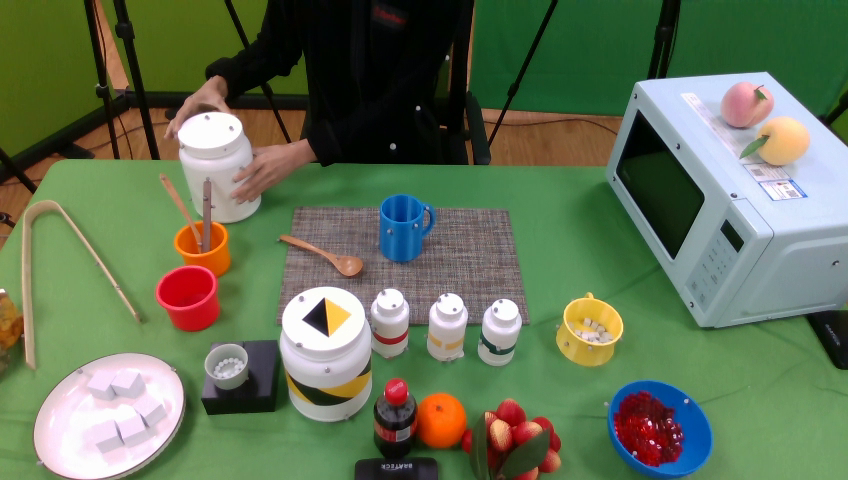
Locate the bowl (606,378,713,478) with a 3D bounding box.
[{"bbox_3d":[0.340,0.292,0.906,0.151,0.077,0.150,2,46,-2],"label":"bowl"}]

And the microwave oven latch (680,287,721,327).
[{"bbox_3d":[0.494,0.119,1.087,0.030,0.029,0.078,-6,46,-10],"label":"microwave oven latch"}]

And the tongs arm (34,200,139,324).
[{"bbox_3d":[-0.622,0.034,1.105,0.051,0.026,0.382,-32,56,-25],"label":"tongs arm"}]

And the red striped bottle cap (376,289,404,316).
[{"bbox_3d":[-0.055,0.098,0.958,0.044,0.018,0.044,0,48,0],"label":"red striped bottle cap"}]

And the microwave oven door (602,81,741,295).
[{"bbox_3d":[0.456,-0.107,1.162,0.039,0.245,0.353,-7,47,-11],"label":"microwave oven door"}]

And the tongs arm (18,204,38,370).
[{"bbox_3d":[-0.698,0.070,1.069,0.028,0.028,0.385,-21,51,-13],"label":"tongs arm"}]

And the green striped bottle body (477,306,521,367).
[{"bbox_3d":[0.124,0.151,0.995,0.063,0.120,0.063,2,46,-2],"label":"green striped bottle body"}]

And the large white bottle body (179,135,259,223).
[{"bbox_3d":[-0.400,-0.138,1.185,0.131,0.185,0.130,2,46,-2],"label":"large white bottle body"}]

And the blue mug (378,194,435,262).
[{"bbox_3d":[-0.032,-0.027,1.160,0.116,0.106,0.082,-19,51,-21],"label":"blue mug"}]

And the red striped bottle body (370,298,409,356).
[{"bbox_3d":[-0.058,0.134,0.997,0.063,0.120,0.062,4,47,-4],"label":"red striped bottle body"}]

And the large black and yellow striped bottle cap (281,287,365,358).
[{"bbox_3d":[-0.141,0.112,0.847,0.115,0.019,0.114,5,45,-4],"label":"large black and yellow striped bottle cap"}]

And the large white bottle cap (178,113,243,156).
[{"bbox_3d":[-0.396,-0.197,1.124,0.115,0.018,0.114,2,46,-2],"label":"large white bottle cap"}]

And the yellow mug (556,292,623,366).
[{"bbox_3d":[0.285,0.145,1.051,0.100,0.064,0.130,7,45,3],"label":"yellow mug"}]

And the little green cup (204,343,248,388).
[{"bbox_3d":[-0.294,0.190,0.909,0.061,0.039,0.061,1,48,-1],"label":"little green cup"}]

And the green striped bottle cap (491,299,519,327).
[{"bbox_3d":[0.128,0.115,0.958,0.044,0.020,0.044,1,47,-1],"label":"green striped bottle cap"}]

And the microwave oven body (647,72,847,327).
[{"bbox_3d":[0.607,-0.089,1.164,0.326,0.261,0.438,-7,46,-10],"label":"microwave oven body"}]

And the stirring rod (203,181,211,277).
[{"bbox_3d":[-0.396,-0.021,1.107,0.014,0.006,0.176,-1,89,-1],"label":"stirring rod"}]

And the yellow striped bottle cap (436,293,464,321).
[{"bbox_3d":[0.041,0.106,0.959,0.044,0.019,0.044,-1,50,1],"label":"yellow striped bottle cap"}]

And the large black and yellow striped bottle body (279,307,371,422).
[{"bbox_3d":[-0.145,0.173,0.907,0.131,0.185,0.130,2,46,-2],"label":"large black and yellow striped bottle body"}]

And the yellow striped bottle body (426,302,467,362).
[{"bbox_3d":[0.037,0.142,0.996,0.063,0.121,0.062,2,46,-2],"label":"yellow striped bottle body"}]

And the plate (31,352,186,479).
[{"bbox_3d":[-0.459,0.262,0.898,0.209,0.038,0.208,2,46,-2],"label":"plate"}]

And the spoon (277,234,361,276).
[{"bbox_3d":[-0.202,0.023,1.154,0.193,0.022,0.041,23,69,17],"label":"spoon"}]

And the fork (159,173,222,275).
[{"bbox_3d":[-0.427,-0.029,1.103,0.028,0.018,0.207,-31,99,-31],"label":"fork"}]
